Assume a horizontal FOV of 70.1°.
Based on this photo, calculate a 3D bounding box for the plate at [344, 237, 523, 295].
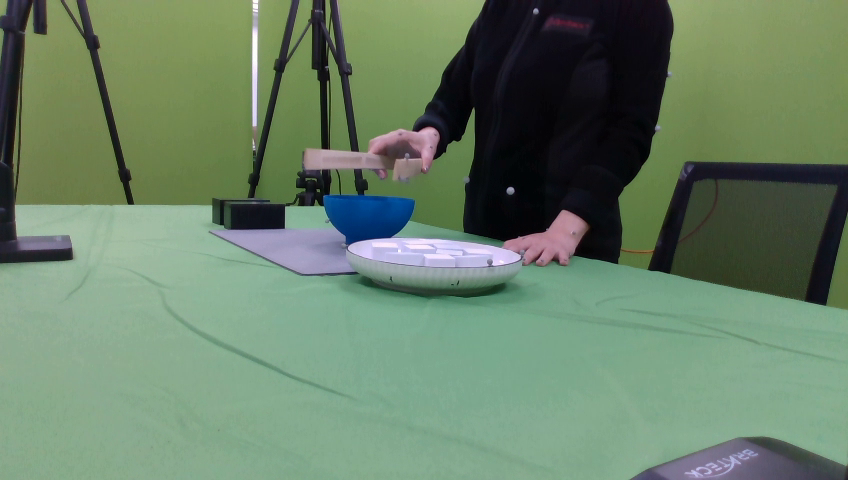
[{"bbox_3d":[0.010,0.030,0.707,0.208,0.039,0.207,3,8,0],"label":"plate"}]

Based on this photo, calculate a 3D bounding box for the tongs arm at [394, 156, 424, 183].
[{"bbox_3d":[-0.030,-0.107,0.886,0.051,0.026,0.385,4,9,6],"label":"tongs arm"}]

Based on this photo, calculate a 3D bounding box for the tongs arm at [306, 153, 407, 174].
[{"bbox_3d":[-0.089,-0.114,0.893,0.028,0.028,0.388,2,8,13],"label":"tongs arm"}]

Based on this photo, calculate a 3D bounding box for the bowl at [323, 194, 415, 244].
[{"bbox_3d":[-0.090,-0.032,0.986,0.151,0.077,0.151,2,7,0],"label":"bowl"}]
